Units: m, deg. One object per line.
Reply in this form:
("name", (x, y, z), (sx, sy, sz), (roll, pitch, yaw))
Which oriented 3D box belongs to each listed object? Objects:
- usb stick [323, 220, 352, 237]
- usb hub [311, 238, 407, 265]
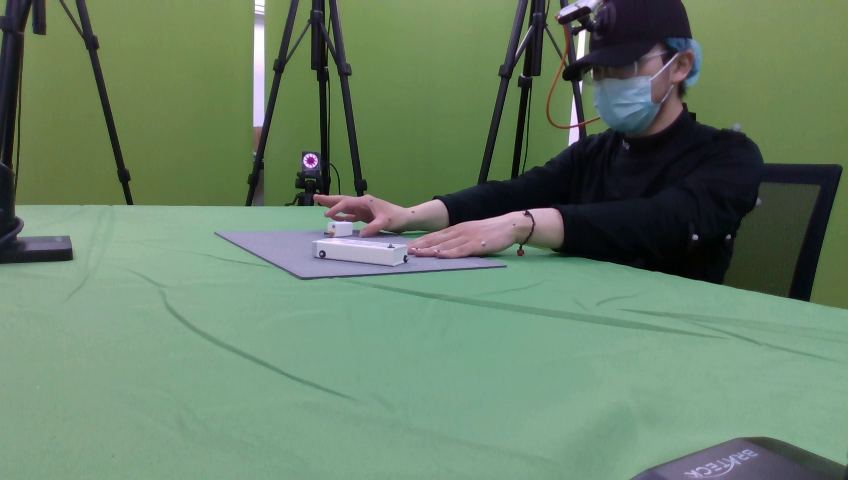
("usb stick", (-0.154, -0.020, 1.072), (0.021, 0.027, 0.059), (8, 13, 35))
("usb hub", (-0.089, 0.015, 0.828), (0.125, 0.025, 0.050), (5, 8, 21))
